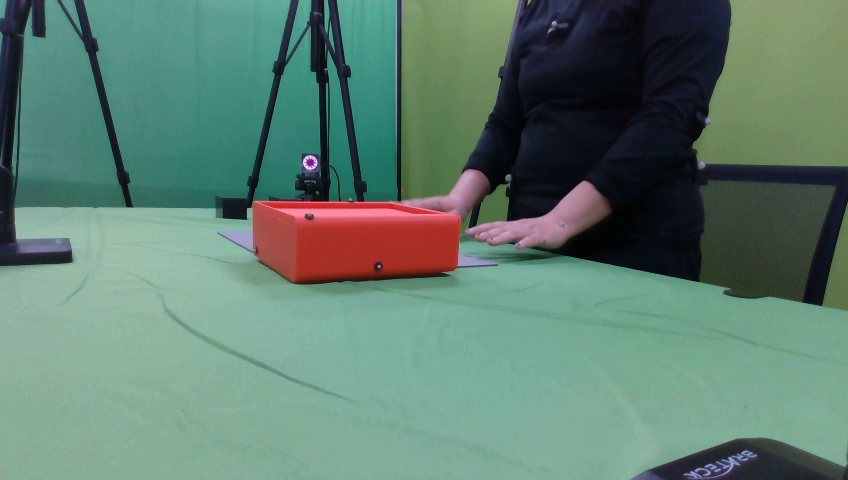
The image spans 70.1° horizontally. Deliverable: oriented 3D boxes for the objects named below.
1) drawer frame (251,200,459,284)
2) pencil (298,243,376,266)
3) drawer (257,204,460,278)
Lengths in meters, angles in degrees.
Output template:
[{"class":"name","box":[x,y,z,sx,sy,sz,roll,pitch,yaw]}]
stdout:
[{"class":"drawer frame","box":[-0.095,-0.005,0.788,0.215,0.082,0.200,-3,10,-30]},{"class":"pencil","box":[-0.107,0.016,0.791,0.012,0.012,0.195,6,8,22]},{"class":"drawer","box":[-0.090,-0.004,0.793,0.213,0.073,0.193,-3,10,-29]}]
